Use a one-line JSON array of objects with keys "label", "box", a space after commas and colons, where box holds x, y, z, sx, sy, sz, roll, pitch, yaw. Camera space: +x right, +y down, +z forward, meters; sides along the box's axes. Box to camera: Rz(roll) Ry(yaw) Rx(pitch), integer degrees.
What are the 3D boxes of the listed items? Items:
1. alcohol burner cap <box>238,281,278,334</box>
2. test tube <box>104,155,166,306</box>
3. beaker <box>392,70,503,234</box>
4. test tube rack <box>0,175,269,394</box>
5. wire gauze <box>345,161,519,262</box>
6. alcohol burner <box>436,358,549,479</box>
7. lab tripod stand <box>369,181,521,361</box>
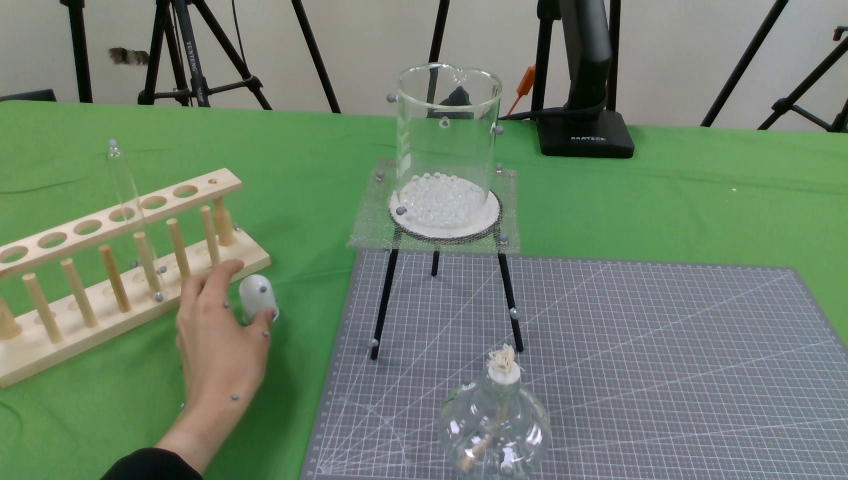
[{"label": "alcohol burner cap", "box": [-0.151, 0.058, 0.546, 0.034, 0.048, 0.033, 2, 38, -1]}, {"label": "test tube", "box": [-0.244, -0.004, 0.514, 0.017, 0.151, 0.017, 1, 36, -1]}, {"label": "beaker", "box": [0.014, -0.063, 0.437, 0.074, 0.101, 0.083, 10, 38, 8]}, {"label": "test tube rack", "box": [-0.269, 0.030, 0.543, 0.242, 0.086, 0.066, -27, 45, -32]}, {"label": "wire gauze", "box": [0.011, -0.023, 0.465, 0.121, 0.011, 0.124, 4, 39, 4]}, {"label": "alcohol burner", "box": [0.047, 0.119, 0.405, 0.078, 0.120, 0.077, 1, 39, -1]}, {"label": "lab tripod stand", "box": [0.018, 0.029, 0.506, 0.148, 0.132, 0.147, 2, 36, -1]}]
